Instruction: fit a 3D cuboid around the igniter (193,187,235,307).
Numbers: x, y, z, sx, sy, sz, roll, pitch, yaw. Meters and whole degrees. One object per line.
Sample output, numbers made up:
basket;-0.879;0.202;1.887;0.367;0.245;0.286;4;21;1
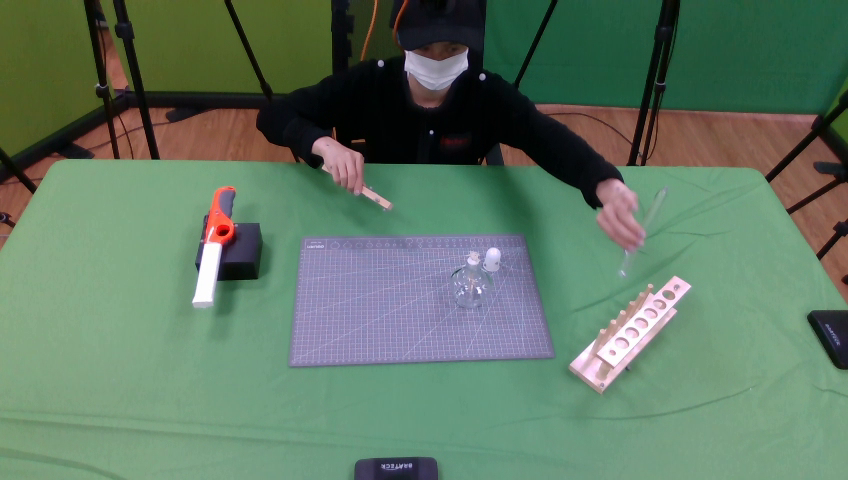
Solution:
igniter;-0.378;0.003;1.096;0.057;0.025;0.274;-1;49;-6

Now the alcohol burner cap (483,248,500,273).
alcohol burner cap;0.130;0.037;1.156;0.034;0.048;0.033;1;46;-1

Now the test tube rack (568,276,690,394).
test tube rack;0.353;0.149;1.038;0.242;0.085;0.066;-34;56;-31

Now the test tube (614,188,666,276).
test tube;0.336;-0.011;0.941;0.017;0.150;0.017;20;18;-7

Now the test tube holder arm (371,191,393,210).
test tube holder arm;-0.098;-0.083;1.175;0.087;0.010;0.015;32;89;23

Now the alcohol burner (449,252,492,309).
alcohol burner;0.084;0.066;1.073;0.078;0.120;0.077;1;45;-1

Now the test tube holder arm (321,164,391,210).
test tube holder arm;-0.135;-0.106;1.188;0.177;0.013;0.015;32;89;23
